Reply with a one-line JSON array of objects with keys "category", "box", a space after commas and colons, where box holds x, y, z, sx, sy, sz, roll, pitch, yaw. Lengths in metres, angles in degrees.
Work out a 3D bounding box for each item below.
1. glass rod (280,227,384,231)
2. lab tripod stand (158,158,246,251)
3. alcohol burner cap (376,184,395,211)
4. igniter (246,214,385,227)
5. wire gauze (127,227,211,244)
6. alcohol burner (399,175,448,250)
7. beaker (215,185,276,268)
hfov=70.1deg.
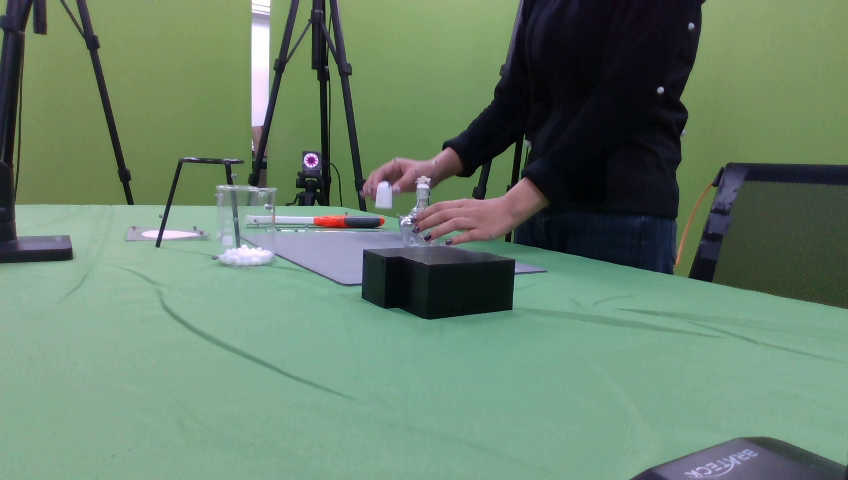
[{"category": "glass rod", "box": [-0.175, -0.021, 1.161, 0.200, 0.008, 0.008, 1, 7, -15]}, {"category": "lab tripod stand", "box": [-0.314, -0.055, 0.891, 0.148, 0.131, 0.148, 2, 9, 0]}, {"category": "alcohol burner cap", "box": [-0.070, -0.077, 1.082, 0.034, 0.048, 0.034, -3, 5, 1]}, {"category": "igniter", "box": [-0.214, -0.040, 1.216, 0.278, 0.025, 0.057, 0, -3, -22]}, {"category": "wire gauze", "box": [-0.420, -0.010, 0.999, 0.122, 0.011, 0.124, -2, 10, -24]}, {"category": "alcohol burner", "box": [-0.001, -0.044, 0.962, 0.078, 0.119, 0.078, 0, 8, 0]}, {"category": "beaker", "box": [-0.226, -0.019, 0.773, 0.074, 0.100, 0.084, 5, 7, 14]}]
